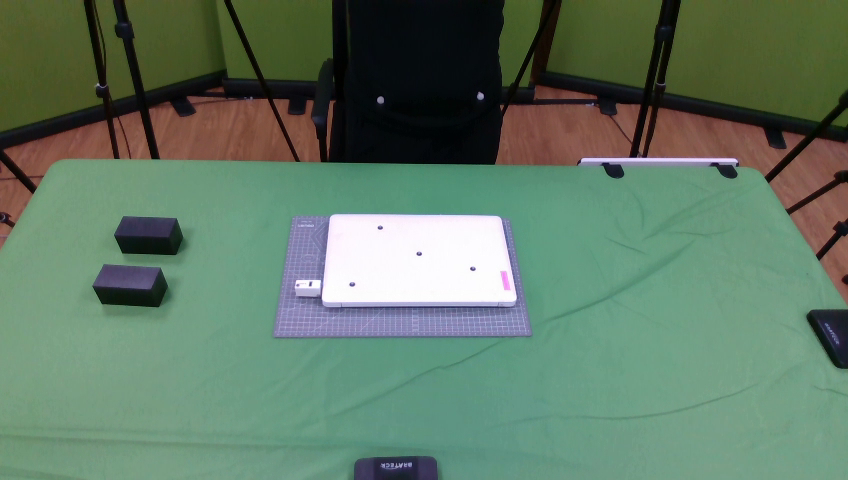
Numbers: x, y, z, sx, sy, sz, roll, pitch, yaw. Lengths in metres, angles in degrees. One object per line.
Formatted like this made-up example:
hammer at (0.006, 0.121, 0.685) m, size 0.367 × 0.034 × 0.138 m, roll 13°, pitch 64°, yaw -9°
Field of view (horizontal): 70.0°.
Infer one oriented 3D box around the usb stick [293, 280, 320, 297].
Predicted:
usb stick at (-0.202, 0.087, 1.082) m, size 0.059 × 0.027 × 0.021 m, roll 4°, pitch 45°, yaw -4°

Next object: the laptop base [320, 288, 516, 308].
laptop base at (-0.013, 0.040, 1.159) m, size 0.355 × 0.023 × 0.234 m, roll 0°, pitch 43°, yaw -4°

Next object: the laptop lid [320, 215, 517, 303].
laptop lid at (-0.012, 0.030, 1.153) m, size 0.357 × 0.013 × 0.240 m, roll 2°, pitch 44°, yaw -3°
